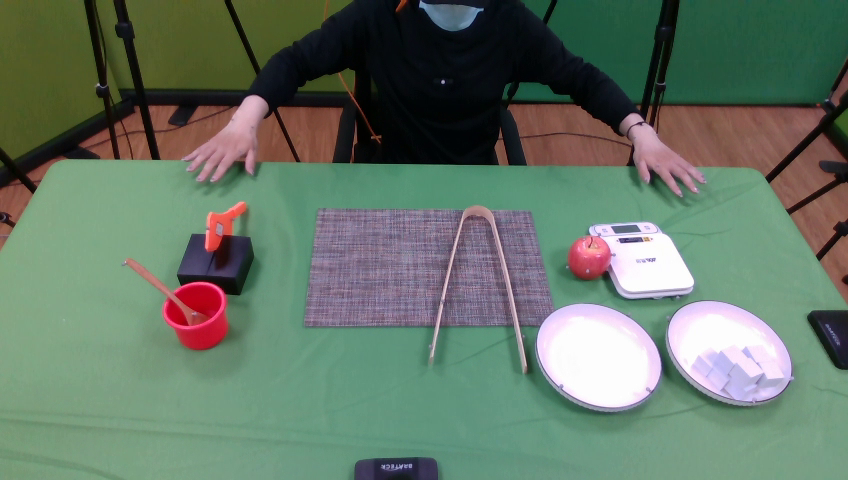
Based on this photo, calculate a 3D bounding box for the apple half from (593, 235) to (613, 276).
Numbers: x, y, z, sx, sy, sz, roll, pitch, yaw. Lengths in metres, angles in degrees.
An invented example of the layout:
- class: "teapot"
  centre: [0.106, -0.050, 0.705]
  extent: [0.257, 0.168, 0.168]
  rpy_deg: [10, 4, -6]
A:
- class: "apple half"
  centre: [0.340, 0.029, 1.155]
  extent: [0.033, 0.082, 0.080]
  rpy_deg: [-10, 47, -8]

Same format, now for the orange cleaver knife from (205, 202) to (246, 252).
- class: "orange cleaver knife"
  centre: [-0.374, -0.029, 1.150]
  extent: [0.012, 0.077, 0.211]
  rpy_deg: [4, 13, 0]

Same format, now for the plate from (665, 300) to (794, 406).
- class: "plate"
  centre: [0.513, 0.194, 1.034]
  extent: [0.208, 0.039, 0.206]
  rpy_deg: [2, 46, -2]

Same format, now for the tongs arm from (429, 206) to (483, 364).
- class: "tongs arm"
  centre: [0.065, 0.069, 1.124]
  extent: [0.051, 0.026, 0.382]
  rpy_deg: [8, 45, 5]

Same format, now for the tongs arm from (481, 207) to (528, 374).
- class: "tongs arm"
  centre: [0.149, 0.077, 1.123]
  extent: [0.028, 0.028, 0.385]
  rpy_deg: [-4, 46, -2]

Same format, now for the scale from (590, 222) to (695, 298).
- class: "scale"
  centre: [0.424, 0.031, 1.189]
  extent: [0.149, 0.032, 0.199]
  rpy_deg: [-3, 46, -7]

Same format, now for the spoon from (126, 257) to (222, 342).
- class: "spoon"
  centre: [-0.408, 0.096, 0.990]
  extent: [0.194, 0.021, 0.041]
  rpy_deg: [50, 53, -18]

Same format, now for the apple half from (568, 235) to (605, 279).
- class: "apple half"
  centre: [0.302, 0.035, 1.148]
  extent: [0.053, 0.075, 0.080]
  rpy_deg: [-9, 51, -8]

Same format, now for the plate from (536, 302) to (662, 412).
- class: "plate"
  centre: [0.288, 0.197, 1.016]
  extent: [0.209, 0.038, 0.208]
  rpy_deg: [2, 46, -2]
